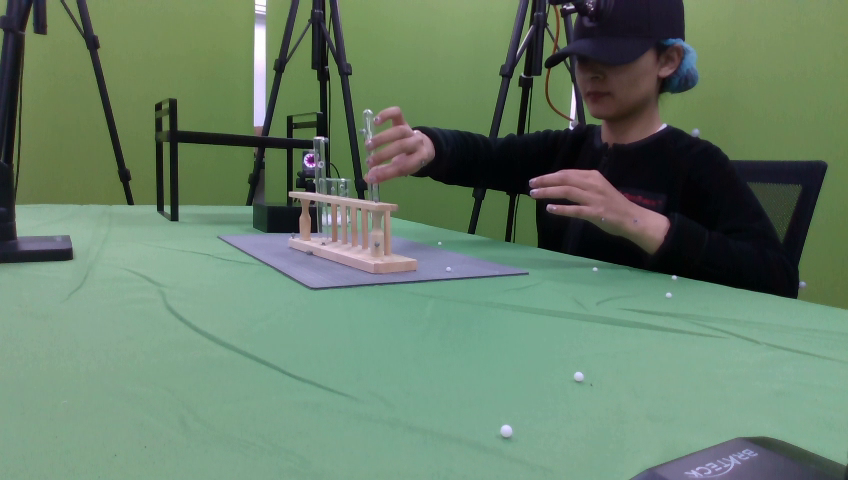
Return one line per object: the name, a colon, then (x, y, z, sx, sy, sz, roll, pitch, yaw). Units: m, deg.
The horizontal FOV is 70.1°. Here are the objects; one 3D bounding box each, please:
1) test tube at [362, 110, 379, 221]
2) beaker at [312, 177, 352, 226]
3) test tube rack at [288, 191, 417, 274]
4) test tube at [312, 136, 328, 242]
test tube: (-0.071, -0.101, 0.813, 0.017, 0.150, 0.017, -4, -4, 0)
beaker: (-0.194, -0.081, 1.266, 0.084, 0.100, 0.073, -3, 9, -29)
test tube rack: (-0.106, -0.017, 0.835, 0.067, 0.085, 0.241, -3, 9, -37)
test tube: (-0.146, -0.070, 0.850, 0.017, 0.150, 0.017, -1, 11, 0)
